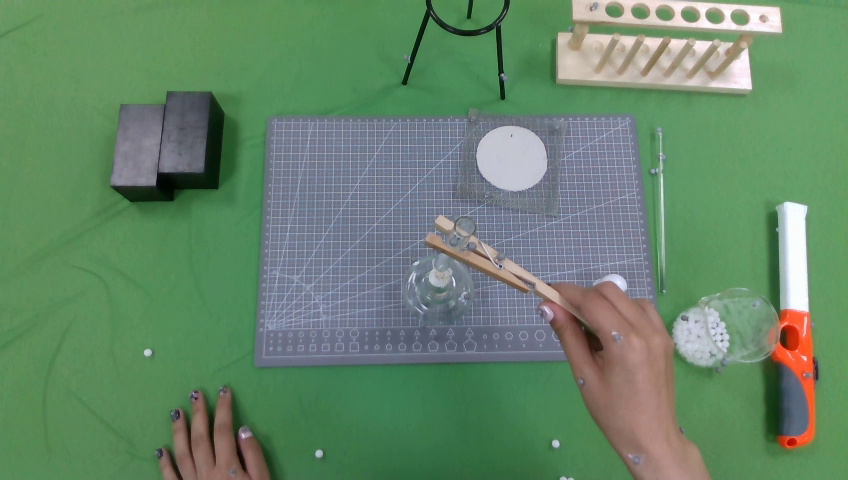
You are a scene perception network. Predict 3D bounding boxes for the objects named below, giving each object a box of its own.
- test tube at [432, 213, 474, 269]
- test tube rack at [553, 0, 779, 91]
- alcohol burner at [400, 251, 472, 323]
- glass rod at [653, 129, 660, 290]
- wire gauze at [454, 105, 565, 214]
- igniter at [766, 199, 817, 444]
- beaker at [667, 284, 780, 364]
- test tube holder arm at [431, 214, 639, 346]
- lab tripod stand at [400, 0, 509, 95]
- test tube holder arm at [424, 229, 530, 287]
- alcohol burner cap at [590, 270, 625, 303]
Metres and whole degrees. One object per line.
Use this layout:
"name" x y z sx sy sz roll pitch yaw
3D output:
"test tube" 0.021 0.004 0.482 0.017 0.150 0.017 1 78 -5
"test tube rack" 0.286 -0.237 0.732 0.242 0.085 0.066 3 75 -1
"alcohol burner" 0.013 0.045 0.631 0.078 0.120 0.077 0 74 0
"glass rod" 0.276 -0.039 0.718 0.008 0.008 0.199 5 77 -1
"wire gauze" 0.104 -0.100 0.727 0.125 0.011 0.121 10 76 0
"igniter" 0.411 0.086 0.680 0.057 0.025 0.275 10 75 -9
"beaker" 0.306 0.091 0.639 0.084 0.101 0.074 30 76 8
"test tube holder arm" 0.083 0.030 0.458 0.178 0.015 0.013 30 86 3
"lab tripod stand" 0.040 -0.240 0.700 0.148 0.132 0.147 0 77 -1
"test tube holder arm" 0.041 0.014 0.460 0.088 0.015 0.010 24 85 3
"alcohol burner cap" 0.206 0.049 0.673 0.034 0.048 0.033 0 75 -1
